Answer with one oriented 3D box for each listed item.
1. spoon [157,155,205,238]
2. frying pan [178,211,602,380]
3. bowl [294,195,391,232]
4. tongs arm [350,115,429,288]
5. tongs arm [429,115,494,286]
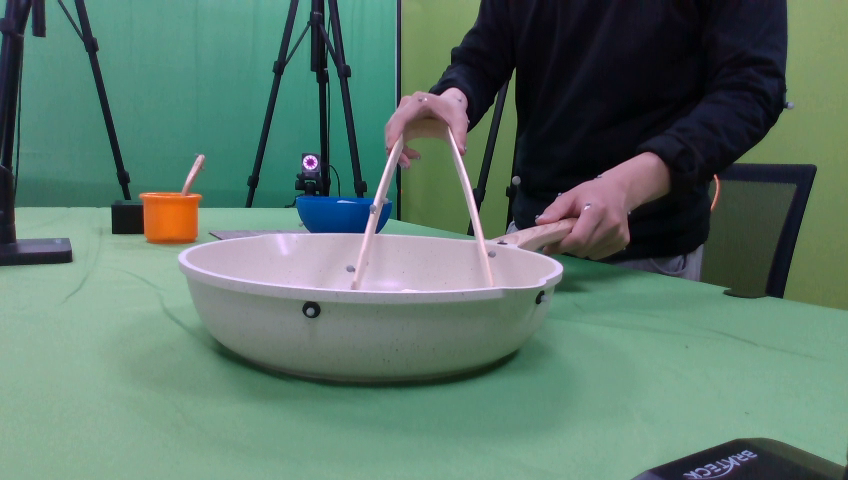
[{"bbox_3d":[-0.392,-0.076,0.998,0.041,0.193,0.021,2,-36,5],"label":"spoon"},{"bbox_3d":[0.034,0.019,0.556,0.490,0.102,0.305,-16,18,-42],"label":"frying pan"},{"bbox_3d":[-0.127,-0.027,0.947,0.151,0.077,0.151,2,7,0],"label":"bowl"},{"bbox_3d":[-0.025,-0.056,0.635,0.051,0.026,0.384,-1,30,3],"label":"tongs arm"},{"bbox_3d":[0.035,-0.057,0.634,0.028,0.028,0.386,-8,31,-1],"label":"tongs arm"}]
